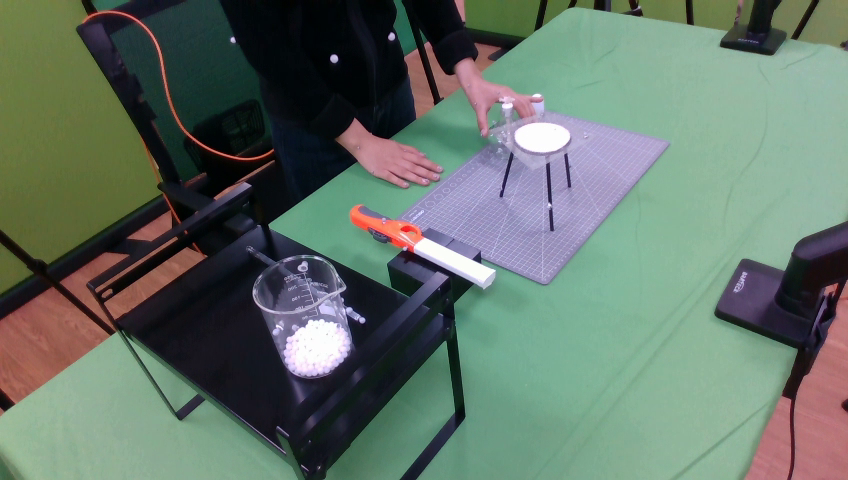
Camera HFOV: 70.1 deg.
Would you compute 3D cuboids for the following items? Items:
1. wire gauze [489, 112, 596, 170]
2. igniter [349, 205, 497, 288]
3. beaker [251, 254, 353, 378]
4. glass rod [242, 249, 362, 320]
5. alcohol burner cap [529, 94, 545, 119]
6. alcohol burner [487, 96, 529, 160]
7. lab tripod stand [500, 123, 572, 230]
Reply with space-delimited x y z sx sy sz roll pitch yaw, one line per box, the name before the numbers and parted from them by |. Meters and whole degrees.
wire gauze | 0.183 -0.161 0.942 0.122 0.011 0.124 -24 44 -18
igniter | -0.013 0.004 0.897 0.274 0.025 0.057 25 44 32
beaker | -0.106 0.074 0.565 0.084 0.101 0.073 -1 41 8
glass rod | -0.141 0.046 0.674 0.198 0.008 0.008 24 49 32
alcohol burner cap | 0.233 -0.277 1.247 0.034 0.048 0.033 -5 41 5
alcohol burner | 0.155 -0.211 1.126 0.078 0.119 0.077 -6 40 5
lab tripod stand | 0.194 -0.110 0.985 0.148 0.132 0.147 -3 41 3
